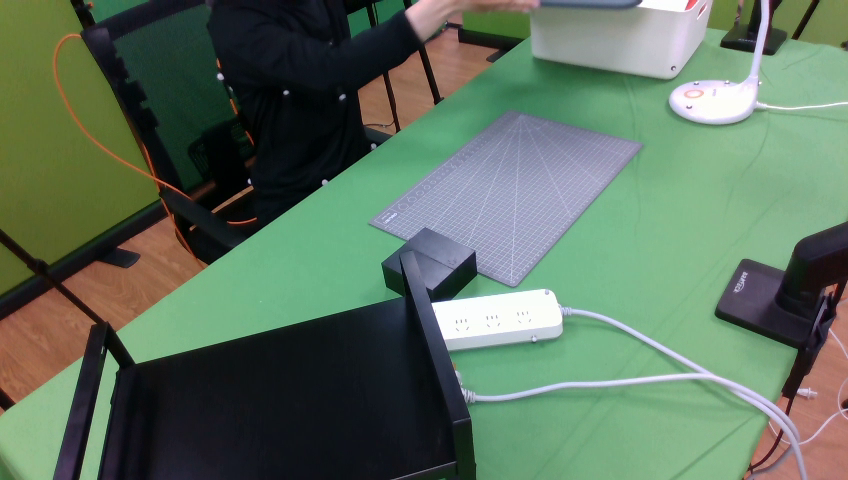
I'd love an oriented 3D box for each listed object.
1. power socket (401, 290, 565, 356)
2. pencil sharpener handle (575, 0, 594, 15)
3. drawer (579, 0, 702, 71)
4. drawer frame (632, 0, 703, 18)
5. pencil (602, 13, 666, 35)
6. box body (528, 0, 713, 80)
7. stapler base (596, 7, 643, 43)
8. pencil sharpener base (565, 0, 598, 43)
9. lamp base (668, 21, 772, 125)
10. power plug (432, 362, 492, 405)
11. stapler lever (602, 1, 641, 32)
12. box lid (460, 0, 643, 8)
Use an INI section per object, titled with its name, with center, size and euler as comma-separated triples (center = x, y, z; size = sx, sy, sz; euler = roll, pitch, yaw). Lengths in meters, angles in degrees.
[power socket]
center = 0.080, 0.112, 0.822
size = 0.227, 0.033, 0.072
euler = -6, 41, 0
[pencil sharpener handle]
center = 0.401, -0.594, 1.511
size = 0.036, 0.067, 0.030
euler = 37, 49, -1
[drawer]
center = 0.484, -0.489, 1.360
size = 0.210, 0.073, 0.194
euler = 24, 62, 21
[drawer frame]
center = 0.487, -0.489, 1.360
size = 0.212, 0.083, 0.202
euler = 24, 62, 20
[pencil]
center = 0.483, -0.495, 1.388
size = 0.195, 0.012, 0.012
euler = -22, 42, -20
[box body]
center = 0.450, -0.513, 1.398
size = 0.361, 0.161, 0.254
euler = 19, 48, 28
[stapler base]
center = 0.453, -0.502, 1.397
size = 0.131, 0.024, 0.041
euler = -39, 63, -19
[pencil sharpener base]
center = 0.388, -0.550, 1.483
size = 0.061, 0.107, 0.077
euler = 14, 44, 23
[lamp base]
center = 0.577, -0.333, 1.155
size = 0.179, 0.181, 0.160
euler = 6, 42, 12
[power plug]
center = 0.045, 0.182, 0.758
size = 0.073, 0.035, 0.052
euler = 21, 43, -18
[stapler lever]
center = 0.451, -0.517, 1.378
size = 0.118, 0.040, 0.026
euler = -39, 63, -18
[box lid]
center = 0.270, -0.520, 1.188
size = 0.369, 0.015, 0.263
euler = 15, 48, 28
